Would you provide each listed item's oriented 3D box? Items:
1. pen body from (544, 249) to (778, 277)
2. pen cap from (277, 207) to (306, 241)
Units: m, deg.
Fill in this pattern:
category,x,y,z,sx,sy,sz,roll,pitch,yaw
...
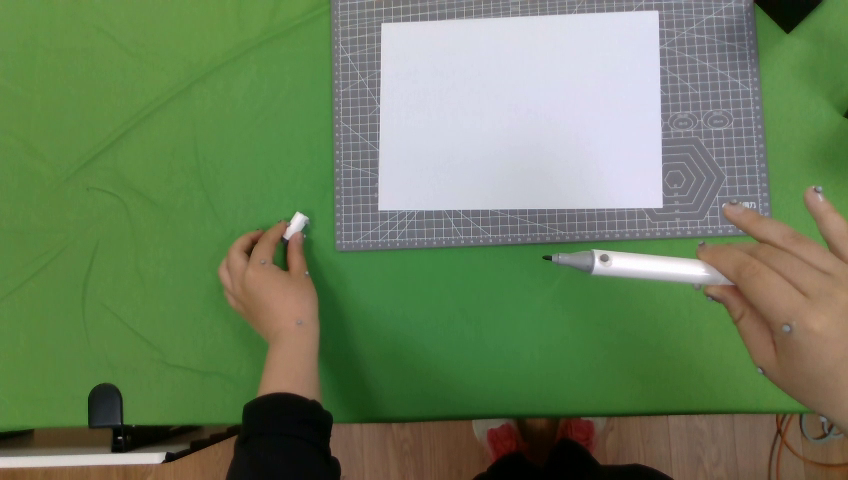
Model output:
category,x,y,z,sx,sy,sz,roll,pitch,yaw
pen body,0.147,0.015,0.381,0.144,0.017,0.017,1,85,-1
pen cap,-0.146,-0.017,0.663,0.017,0.017,0.038,43,105,9
